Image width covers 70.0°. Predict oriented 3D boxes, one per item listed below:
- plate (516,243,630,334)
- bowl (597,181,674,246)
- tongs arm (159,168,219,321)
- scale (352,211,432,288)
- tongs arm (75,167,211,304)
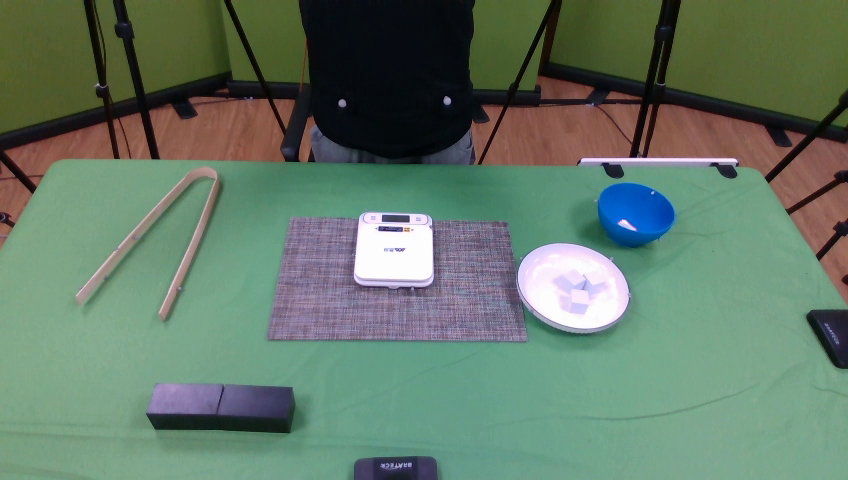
[{"bbox_3d":[0.272,0.092,1.120,0.208,0.039,0.206,2,46,-2],"label":"plate"},{"bbox_3d":[0.418,-0.042,1.230,0.151,0.077,0.150,2,46,-2],"label":"bowl"},{"bbox_3d":[-0.446,-0.006,1.164,0.028,0.028,0.385,1,46,0],"label":"tongs arm"},{"bbox_3d":[-0.060,0.010,1.171,0.149,0.032,0.199,2,46,-3],"label":"scale"},{"bbox_3d":[-0.526,-0.021,1.167,0.051,0.026,0.383,13,46,7],"label":"tongs arm"}]
